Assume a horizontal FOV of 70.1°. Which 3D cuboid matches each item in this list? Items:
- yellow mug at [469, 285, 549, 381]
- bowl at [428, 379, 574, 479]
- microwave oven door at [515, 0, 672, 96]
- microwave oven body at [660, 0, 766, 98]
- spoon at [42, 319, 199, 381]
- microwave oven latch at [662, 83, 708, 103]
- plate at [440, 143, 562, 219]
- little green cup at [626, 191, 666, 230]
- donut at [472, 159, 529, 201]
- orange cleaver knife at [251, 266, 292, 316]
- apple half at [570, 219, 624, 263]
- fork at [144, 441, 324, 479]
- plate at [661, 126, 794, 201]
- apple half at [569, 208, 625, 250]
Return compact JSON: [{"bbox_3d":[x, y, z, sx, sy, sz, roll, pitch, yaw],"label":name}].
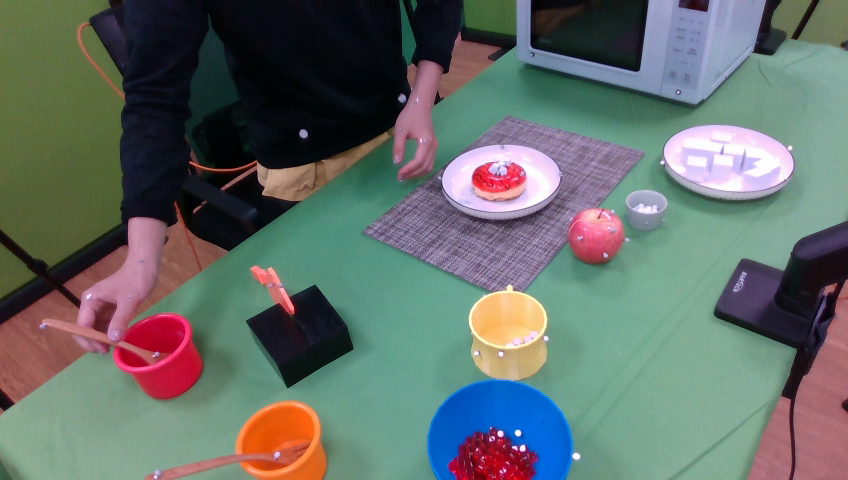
[{"bbox_3d":[0.112,0.112,0.792,0.100,0.064,0.130,0,40,9],"label":"yellow mug"},{"bbox_3d":[0.082,0.233,0.644,0.151,0.077,0.150,-4,39,4],"label":"bowl"},{"bbox_3d":[0.344,-0.455,1.259,0.353,0.245,0.039,26,51,33],"label":"microwave oven door"},{"bbox_3d":[0.472,-0.513,1.317,0.438,0.261,0.327,26,51,34],"label":"microwave oven body"},{"bbox_3d":[-0.385,0.137,0.777,0.195,0.021,0.041,30,36,-25],"label":"spoon"},{"bbox_3d":[0.518,-0.296,1.204,0.078,0.029,0.030,27,52,35],"label":"microwave oven latch"},{"bbox_3d":[0.134,-0.098,1.052,0.209,0.038,0.208,-4,40,4],"label":"plate"},{"bbox_3d":[0.352,-0.046,0.963,0.061,0.039,0.061,-4,40,4],"label":"little green cup"},{"bbox_3d":[0.131,-0.105,1.043,0.099,0.048,0.098,-4,38,4],"label":"donut"},{"bbox_3d":[-0.221,0.071,0.873,0.012,0.077,0.210,-25,11,-21],"label":"orange cleaver knife"},{"bbox_3d":[0.250,0.010,0.885,0.081,0.081,0.033,7,39,17],"label":"apple half"},{"bbox_3d":[-0.189,0.231,0.631,0.028,0.018,0.209,33,11,38],"label":"fork"},{"bbox_3d":[0.513,-0.127,1.035,0.207,0.039,0.206,-4,40,4],"label":"plate"},{"bbox_3d":[0.262,-0.014,0.913,0.080,0.075,0.053,4,37,20],"label":"apple half"}]
